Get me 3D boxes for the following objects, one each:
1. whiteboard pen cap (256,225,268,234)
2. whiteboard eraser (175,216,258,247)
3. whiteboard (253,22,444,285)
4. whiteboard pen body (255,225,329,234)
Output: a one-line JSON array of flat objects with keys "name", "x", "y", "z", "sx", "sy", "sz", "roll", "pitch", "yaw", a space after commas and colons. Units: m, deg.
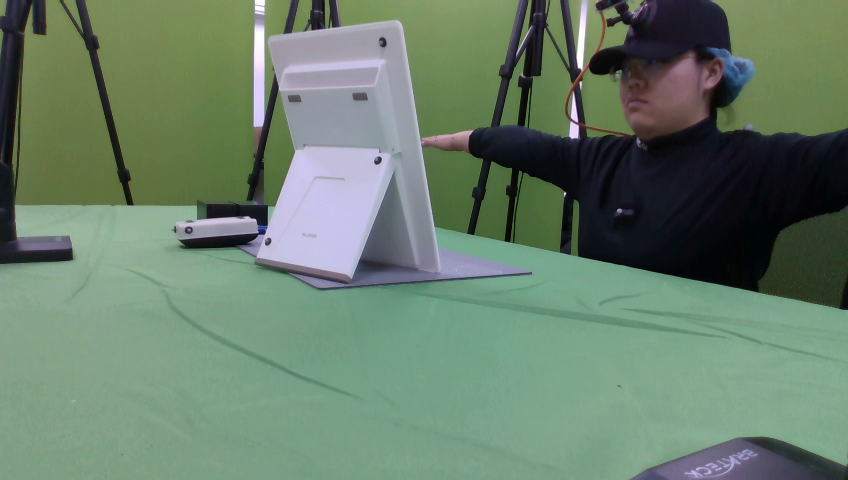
[{"name": "whiteboard pen cap", "x": -0.288, "y": -0.019, "z": 1.072, "sx": 0.033, "sy": 0.018, "sz": 0.018, "roll": -4, "pitch": 10, "yaw": -34}, {"name": "whiteboard eraser", "x": -0.313, "y": -0.013, "z": 0.915, "sx": 0.113, "sy": 0.042, "sz": 0.055, "roll": -5, "pitch": 12, "yaw": -30}, {"name": "whiteboard", "x": -0.125, "y": -0.081, "z": 0.715, "sx": 0.216, "sy": 0.305, "sz": 0.144, "roll": 9, "pitch": 29, "yaw": 36}, {"name": "whiteboard pen body", "x": -0.239, "y": -0.019, "z": 1.105, "sx": 0.141, "sy": 0.017, "sz": 0.017, "roll": -2, "pitch": 9, "yaw": -34}]
